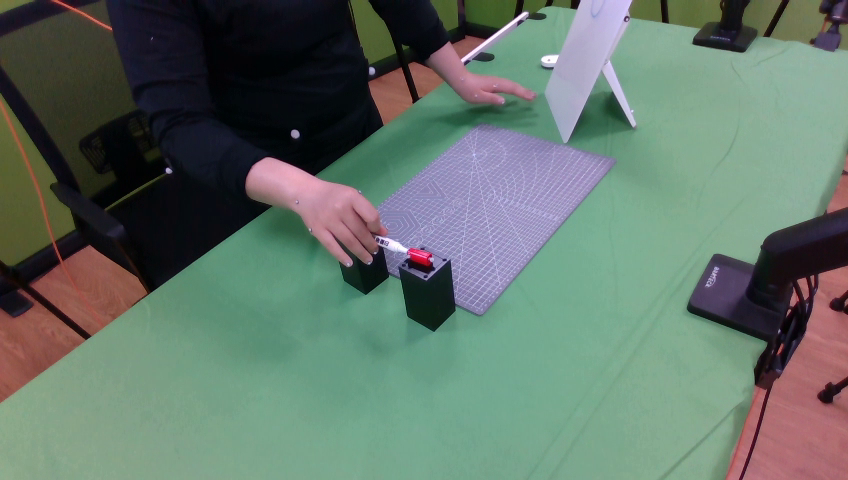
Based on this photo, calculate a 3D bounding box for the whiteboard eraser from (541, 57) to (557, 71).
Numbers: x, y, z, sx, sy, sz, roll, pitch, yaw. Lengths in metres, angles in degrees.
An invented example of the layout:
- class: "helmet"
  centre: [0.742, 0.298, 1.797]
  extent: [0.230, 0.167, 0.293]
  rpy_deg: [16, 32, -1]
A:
- class: "whiteboard eraser"
  centre: [0.323, -0.412, 1.407]
  extent: [0.101, 0.019, 0.041]
  rpy_deg: [1, 41, 11]

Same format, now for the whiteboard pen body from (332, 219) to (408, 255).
- class: "whiteboard pen body"
  centre: [-0.072, -0.003, 0.832]
  extent: [0.139, 0.017, 0.017]
  rpy_deg: [21, 48, 30]

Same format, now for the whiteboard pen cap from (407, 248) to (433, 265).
- class: "whiteboard pen cap"
  centre: [-0.006, 0.021, 0.793]
  extent: [0.032, 0.017, 0.017]
  rpy_deg: [18, 46, 29]

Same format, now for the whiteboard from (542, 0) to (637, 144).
- class: "whiteboard"
  centre: [0.366, -0.351, 1.160]
  extent: [0.144, 0.305, 0.216]
  rpy_deg: [10, 39, -10]
